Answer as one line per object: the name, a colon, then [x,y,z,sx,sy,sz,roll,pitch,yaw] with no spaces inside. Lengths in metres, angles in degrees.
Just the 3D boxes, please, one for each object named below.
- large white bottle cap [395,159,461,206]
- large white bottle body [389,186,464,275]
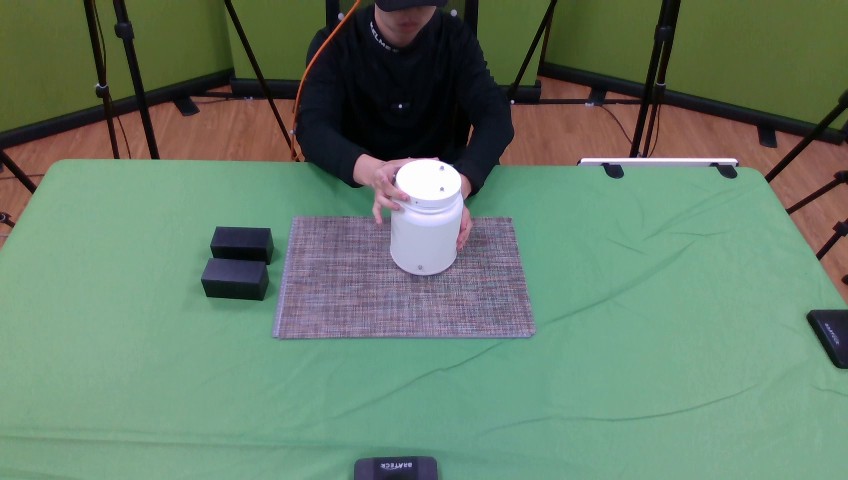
large white bottle cap: [0.007,-0.101,1.052,0.115,0.018,0.114,4,44,-3]
large white bottle body: [0.003,-0.039,1.117,0.131,0.185,0.130,3,47,-3]
